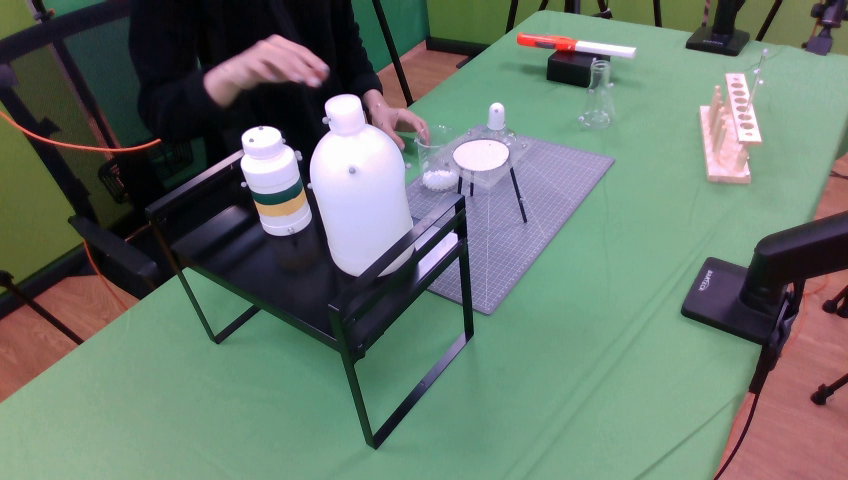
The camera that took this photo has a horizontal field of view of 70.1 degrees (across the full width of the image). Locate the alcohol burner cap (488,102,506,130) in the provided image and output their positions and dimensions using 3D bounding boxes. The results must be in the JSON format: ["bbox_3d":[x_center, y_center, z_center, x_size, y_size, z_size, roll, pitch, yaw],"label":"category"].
[{"bbox_3d":[0.133,-0.227,1.092,0.034,0.048,0.033,-1,47,2],"label":"alcohol burner cap"}]

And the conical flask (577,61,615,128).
[{"bbox_3d":[0.343,-0.288,1.188,0.075,0.122,0.075,-4,41,4],"label":"conical flask"}]

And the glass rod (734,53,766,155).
[{"bbox_3d":[0.540,-0.220,1.007,0.008,0.201,0.008,-5,45,6],"label":"glass rod"}]

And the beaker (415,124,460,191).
[{"bbox_3d":[0.027,-0.147,1.081,0.073,0.100,0.084,12,43,21],"label":"beaker"}]

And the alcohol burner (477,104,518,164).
[{"bbox_3d":[0.135,-0.200,1.117,0.078,0.119,0.077,-4,43,4],"label":"alcohol burner"}]

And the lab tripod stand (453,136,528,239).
[{"bbox_3d":[0.095,-0.086,0.974,0.148,0.132,0.147,-4,43,4],"label":"lab tripod stand"}]

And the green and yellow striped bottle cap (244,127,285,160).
[{"bbox_3d":[-0.183,-0.111,0.694,0.045,0.020,0.045,-1,42,1],"label":"green and yellow striped bottle cap"}]

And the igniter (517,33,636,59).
[{"bbox_3d":[0.336,-0.441,1.369,0.275,0.025,0.057,16,41,23],"label":"igniter"}]

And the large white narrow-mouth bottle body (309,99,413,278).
[{"bbox_3d":[-0.068,-0.057,0.644,0.102,0.195,0.101,-3,42,4],"label":"large white narrow-mouth bottle body"}]

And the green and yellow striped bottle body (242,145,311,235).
[{"bbox_3d":[-0.179,-0.069,0.730,0.063,0.120,0.063,-4,41,4],"label":"green and yellow striped bottle body"}]

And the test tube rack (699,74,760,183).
[{"bbox_3d":[0.547,-0.208,1.095,0.066,0.085,0.242,6,42,16],"label":"test tube rack"}]

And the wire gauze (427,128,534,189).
[{"bbox_3d":[0.086,-0.131,0.924,0.124,0.011,0.122,26,52,33],"label":"wire gauze"}]

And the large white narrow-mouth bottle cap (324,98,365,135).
[{"bbox_3d":[-0.076,-0.120,0.585,0.038,0.024,0.037,-3,42,3],"label":"large white narrow-mouth bottle cap"}]
